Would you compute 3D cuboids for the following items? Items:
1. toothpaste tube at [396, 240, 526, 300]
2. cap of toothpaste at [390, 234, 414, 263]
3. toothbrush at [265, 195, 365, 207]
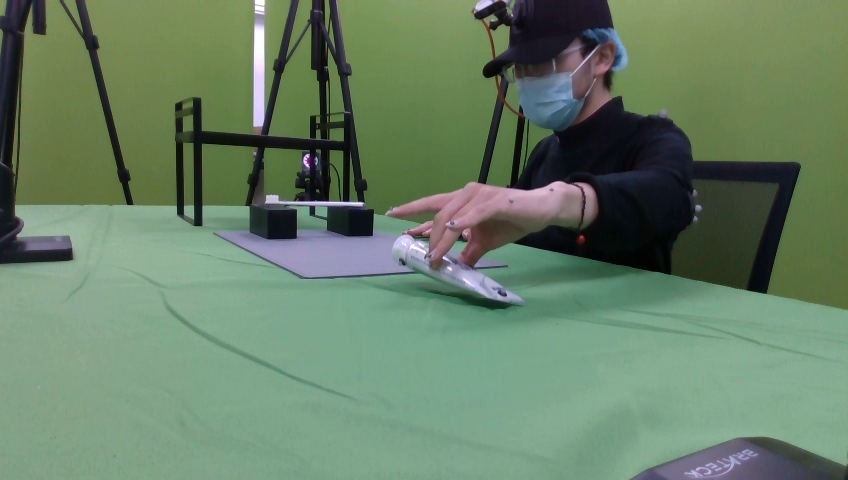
[{"bbox_3d":[0.028,0.032,0.640,0.055,0.034,0.164,2,14,-45],"label":"toothpaste tube"},{"bbox_3d":[-0.022,0.010,0.695,0.037,0.037,0.011,-5,19,-44],"label":"cap of toothpaste"},{"bbox_3d":[-0.192,-0.068,1.082,0.183,0.016,0.014,1,-8,-26],"label":"toothbrush"}]
